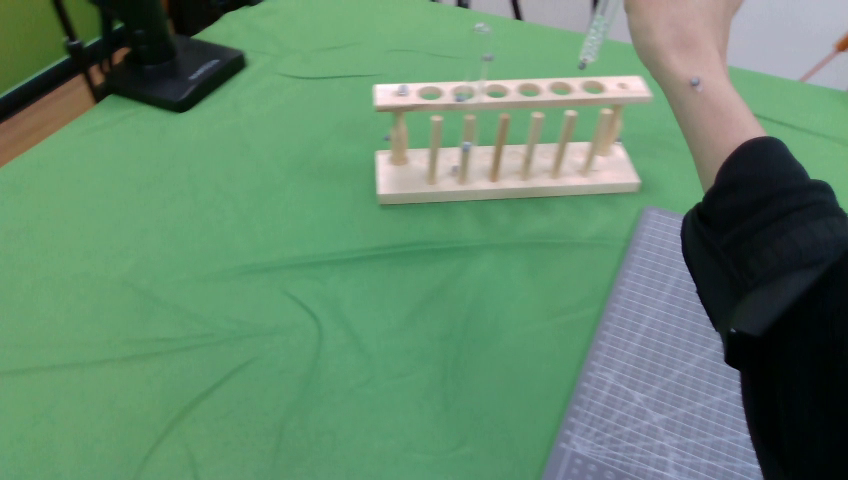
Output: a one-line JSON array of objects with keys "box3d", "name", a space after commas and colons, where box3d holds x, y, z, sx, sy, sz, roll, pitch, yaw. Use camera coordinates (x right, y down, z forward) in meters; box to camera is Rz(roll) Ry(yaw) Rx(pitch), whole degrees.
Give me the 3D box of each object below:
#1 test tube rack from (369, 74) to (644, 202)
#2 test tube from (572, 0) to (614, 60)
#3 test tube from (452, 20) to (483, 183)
[{"box3d": [0.074, -0.093, 0.553, 0.243, 0.086, 0.066, -3, 46, -5], "name": "test tube rack"}, {"box3d": [0.133, -0.189, 0.420, 0.017, 0.151, 0.017, 5, 53, -6], "name": "test tube"}, {"box3d": [0.035, -0.110, 0.505, 0.017, 0.152, 0.017, 1, 45, -1], "name": "test tube"}]
